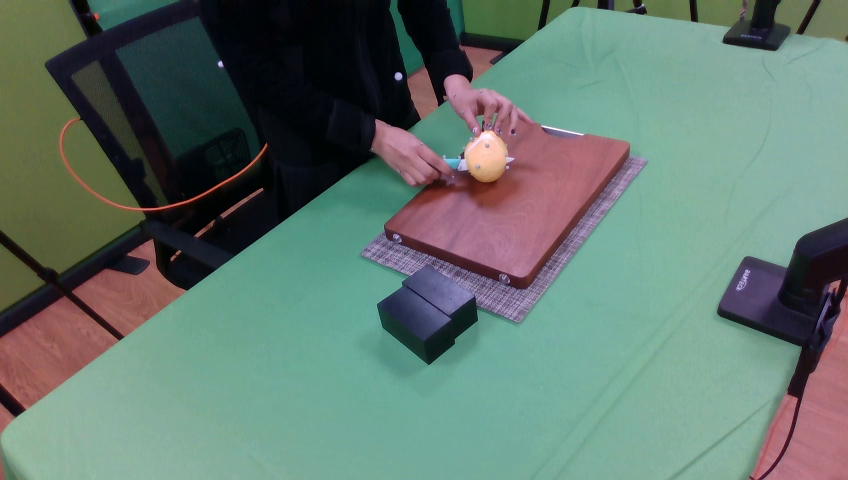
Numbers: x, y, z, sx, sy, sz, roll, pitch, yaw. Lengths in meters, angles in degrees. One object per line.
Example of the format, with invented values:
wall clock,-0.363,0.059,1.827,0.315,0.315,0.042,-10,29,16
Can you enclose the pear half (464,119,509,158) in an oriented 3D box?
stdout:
pear half,0.108,-0.165,1.044,0.076,0.110,0.056,1,40,7

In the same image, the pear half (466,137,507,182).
pear half,0.105,-0.130,1.022,0.070,0.088,0.031,2,47,5

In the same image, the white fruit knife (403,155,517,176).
white fruit knife,0.059,-0.133,1.050,0.206,0.027,0.016,-4,39,18
